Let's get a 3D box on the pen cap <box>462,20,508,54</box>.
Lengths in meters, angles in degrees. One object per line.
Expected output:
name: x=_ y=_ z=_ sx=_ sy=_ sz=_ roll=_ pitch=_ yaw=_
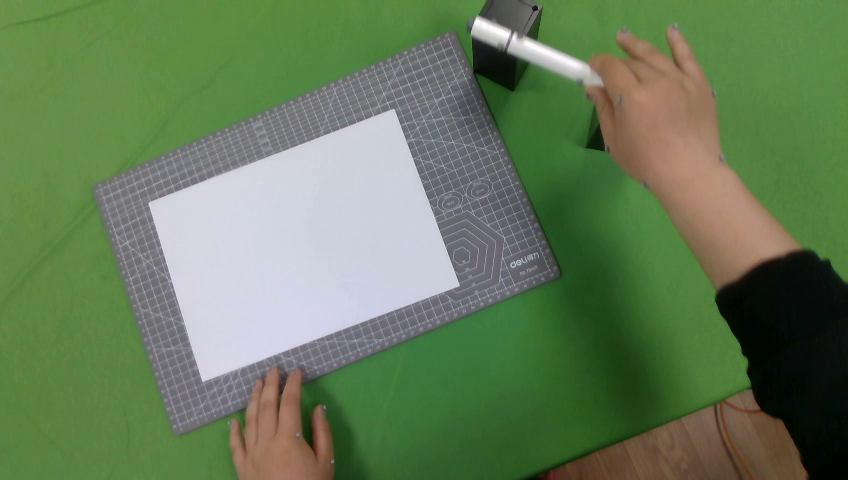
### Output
pen cap: x=0.051 y=-0.171 z=0.509 sx=0.038 sy=0.017 sz=0.017 roll=24 pitch=86 yaw=0

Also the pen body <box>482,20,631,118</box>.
pen body: x=0.110 y=-0.146 z=0.511 sx=0.144 sy=0.017 sz=0.017 roll=32 pitch=87 yaw=-1
